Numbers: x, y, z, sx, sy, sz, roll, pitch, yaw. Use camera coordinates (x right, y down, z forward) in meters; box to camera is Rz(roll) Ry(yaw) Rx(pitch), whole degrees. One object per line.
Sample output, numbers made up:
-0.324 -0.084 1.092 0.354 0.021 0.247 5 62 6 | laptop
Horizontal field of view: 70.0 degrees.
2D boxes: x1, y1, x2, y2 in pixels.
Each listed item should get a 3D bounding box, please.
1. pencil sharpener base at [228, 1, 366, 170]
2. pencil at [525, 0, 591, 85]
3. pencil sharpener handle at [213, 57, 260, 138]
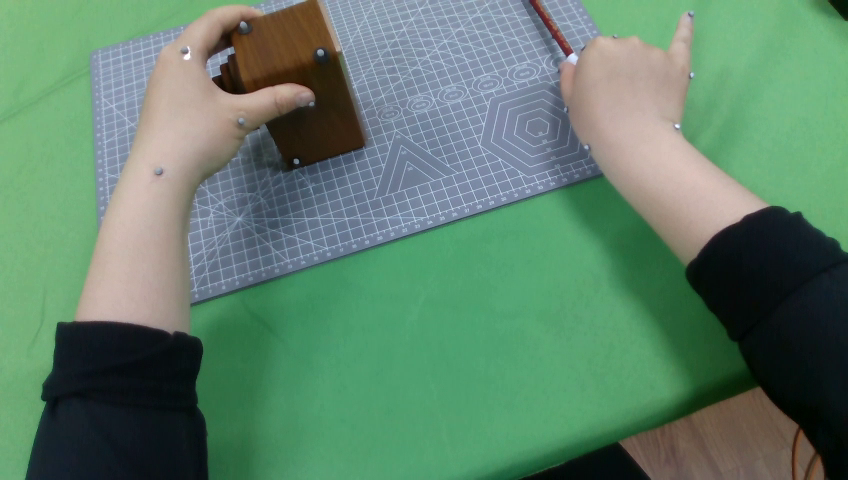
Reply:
-0.095 -0.113 0.463 0.077 0.108 0.061 -20 62 -4 | pencil sharpener base
0.103 -0.204 0.544 0.012 0.012 0.192 -19 57 -4 | pencil
-0.144 -0.101 0.449 0.030 0.068 0.035 -20 62 -4 | pencil sharpener handle
